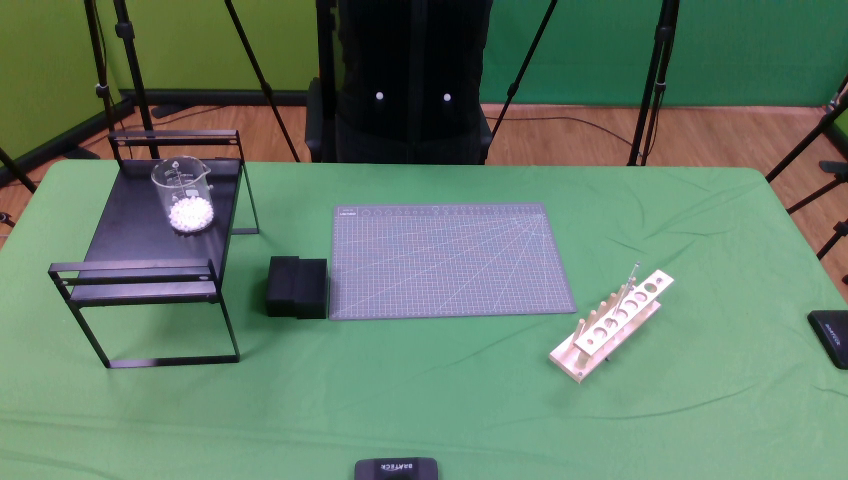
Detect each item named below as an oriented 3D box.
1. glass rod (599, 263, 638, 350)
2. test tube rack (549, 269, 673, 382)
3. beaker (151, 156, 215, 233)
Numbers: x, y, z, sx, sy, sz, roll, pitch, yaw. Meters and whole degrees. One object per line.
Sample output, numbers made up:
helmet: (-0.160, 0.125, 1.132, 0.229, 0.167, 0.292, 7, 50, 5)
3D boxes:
glass rod: (0.311, 0.112, 0.976, 0.008, 0.200, 0.008, 4, 40, -3)
test tube rack: (0.325, 0.134, 1.047, 0.242, 0.085, 0.066, -32, 56, -30)
beaker: (-0.364, -0.068, 0.933, 0.084, 0.101, 0.073, -11, 48, -15)
